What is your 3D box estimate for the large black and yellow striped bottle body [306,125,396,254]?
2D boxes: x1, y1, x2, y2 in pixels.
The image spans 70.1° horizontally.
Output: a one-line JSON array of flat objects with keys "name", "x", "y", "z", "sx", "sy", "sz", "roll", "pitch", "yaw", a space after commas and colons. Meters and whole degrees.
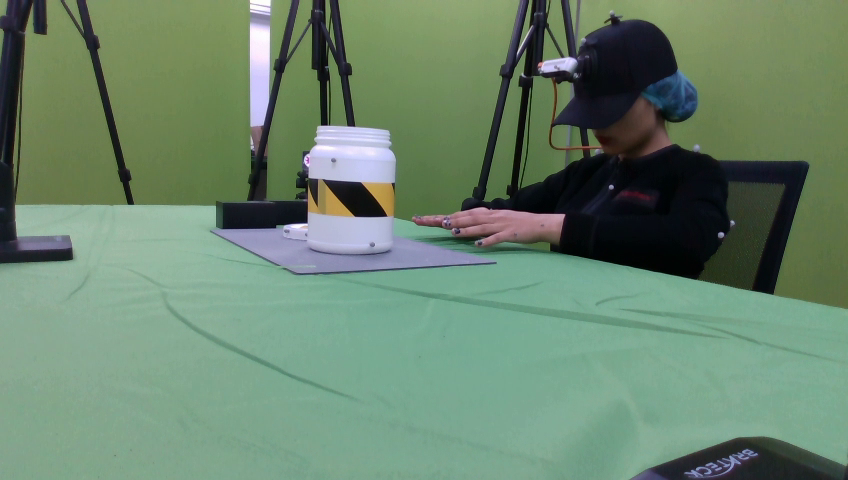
[{"name": "large black and yellow striped bottle body", "x": -0.109, "y": -0.077, "z": 0.913, "sx": 0.131, "sy": 0.184, "sz": 0.130, "roll": 3, "pitch": 8, "yaw": 0}]

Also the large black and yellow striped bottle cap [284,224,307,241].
[{"name": "large black and yellow striped bottle cap", "x": -0.186, "y": -0.014, "z": 1.055, "sx": 0.115, "sy": 0.019, "sz": 0.115, "roll": 1, "pitch": 8, "yaw": 0}]
